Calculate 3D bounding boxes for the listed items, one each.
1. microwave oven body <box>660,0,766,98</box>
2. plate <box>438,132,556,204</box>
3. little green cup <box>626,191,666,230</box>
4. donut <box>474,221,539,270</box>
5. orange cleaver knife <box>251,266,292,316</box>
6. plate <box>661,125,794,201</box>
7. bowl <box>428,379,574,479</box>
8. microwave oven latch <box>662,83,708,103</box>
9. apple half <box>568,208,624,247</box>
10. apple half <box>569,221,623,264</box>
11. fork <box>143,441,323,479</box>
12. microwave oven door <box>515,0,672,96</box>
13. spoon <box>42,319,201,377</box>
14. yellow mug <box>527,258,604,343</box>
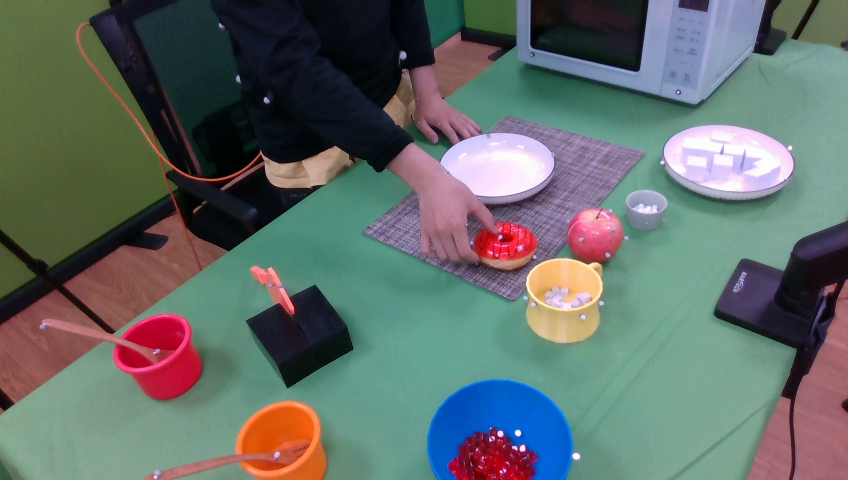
[{"bbox_3d":[0.472,-0.513,1.317,0.438,0.261,0.327,26,51,34],"label":"microwave oven body"},{"bbox_3d":[0.130,-0.125,1.084,0.209,0.038,0.208,-4,40,4],"label":"plate"},{"bbox_3d":[0.352,-0.046,0.963,0.061,0.039,0.061,-4,40,4],"label":"little green cup"},{"bbox_3d":[0.126,0.007,0.925,0.099,0.048,0.098,-4,37,4],"label":"donut"},{"bbox_3d":[-0.221,0.071,0.873,0.012,0.077,0.210,-25,11,-21],"label":"orange cleaver knife"},{"bbox_3d":[0.513,-0.128,1.035,0.207,0.039,0.206,-4,40,4],"label":"plate"},{"bbox_3d":[0.082,0.233,0.644,0.151,0.077,0.150,-4,39,4],"label":"bowl"},{"bbox_3d":[0.517,-0.296,1.204,0.078,0.029,0.030,27,52,35],"label":"microwave oven latch"},{"bbox_3d":[0.259,-0.014,0.914,0.080,0.075,0.053,0,36,15],"label":"apple half"},{"bbox_3d":[0.251,0.010,0.884,0.081,0.081,0.032,3,37,12],"label":"apple half"},{"bbox_3d":[-0.189,0.231,0.631,0.028,0.018,0.209,35,13,37],"label":"fork"},{"bbox_3d":[0.343,-0.454,1.259,0.353,0.245,0.039,26,51,33],"label":"microwave oven door"},{"bbox_3d":[-0.385,0.135,0.779,0.195,0.021,0.041,28,36,-26],"label":"spoon"},{"bbox_3d":[0.201,0.073,0.825,0.131,0.064,0.099,-32,46,-27],"label":"yellow mug"}]
